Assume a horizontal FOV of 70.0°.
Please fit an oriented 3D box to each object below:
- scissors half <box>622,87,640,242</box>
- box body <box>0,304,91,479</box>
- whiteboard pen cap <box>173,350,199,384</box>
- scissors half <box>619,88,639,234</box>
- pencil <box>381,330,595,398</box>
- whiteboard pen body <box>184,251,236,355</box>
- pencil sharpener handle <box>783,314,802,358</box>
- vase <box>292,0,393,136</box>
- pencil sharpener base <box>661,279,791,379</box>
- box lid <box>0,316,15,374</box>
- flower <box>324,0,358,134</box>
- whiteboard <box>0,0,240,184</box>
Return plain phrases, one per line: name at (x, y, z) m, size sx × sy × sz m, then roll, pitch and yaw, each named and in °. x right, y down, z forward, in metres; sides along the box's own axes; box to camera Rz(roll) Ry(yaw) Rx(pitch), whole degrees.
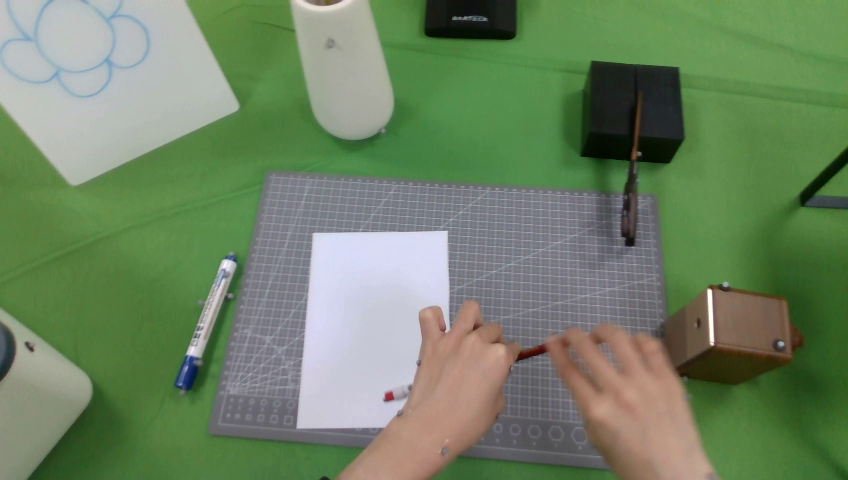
scissors half at (0.229, -0.083, 0.661) m, size 0.012 × 0.040 × 0.175 m, roll 3°, pitch 84°, yaw 28°
box body at (-0.530, 0.121, 0.538) m, size 0.362 × 0.161 × 0.253 m, roll 29°, pitch 70°, yaw 13°
whiteboard pen cap at (-0.237, 0.126, 0.605) m, size 0.018 × 0.018 × 0.033 m, roll 10°, pitch 62°, yaw 6°
scissors half at (0.221, -0.089, 0.643) m, size 0.013 × 0.040 × 0.174 m, roll 4°, pitch 67°, yaw 23°
pencil at (0.053, 0.106, 0.523) m, size 0.194 × 0.012 × 0.012 m, roll -18°, pitch 65°, yaw 8°
whiteboard pen body at (-0.226, 0.074, 0.631) m, size 0.017 × 0.017 × 0.140 m, roll 10°, pitch 64°, yaw 6°
pencil sharpener handle at (0.329, 0.091, 0.553) m, size 0.030 × 0.068 × 0.035 m, roll 8°, pitch 60°, yaw 2°
vase at (-0.088, -0.202, 0.654) m, size 0.098 × 0.201 × 0.097 m, roll -1°, pitch 64°, yaw 2°
pencil sharpener base at (0.278, 0.087, 0.566) m, size 0.077 × 0.108 × 0.061 m, roll 8°, pitch 65°, yaw 2°
box lid at (-0.533, 0.088, 0.470) m, size 0.370 × 0.015 × 0.262 m, roll 29°, pitch 69°, yaw 13°
flower at (-0.096, -0.249, 0.585) m, size 0.044 × 0.365 × 0.038 m, roll -3°, pitch 48°, yaw 4°
whiteboard at (-0.379, -0.257, 0.660) m, size 0.217 × 0.309 × 0.142 m, roll -28°, pitch 49°, yaw -10°
